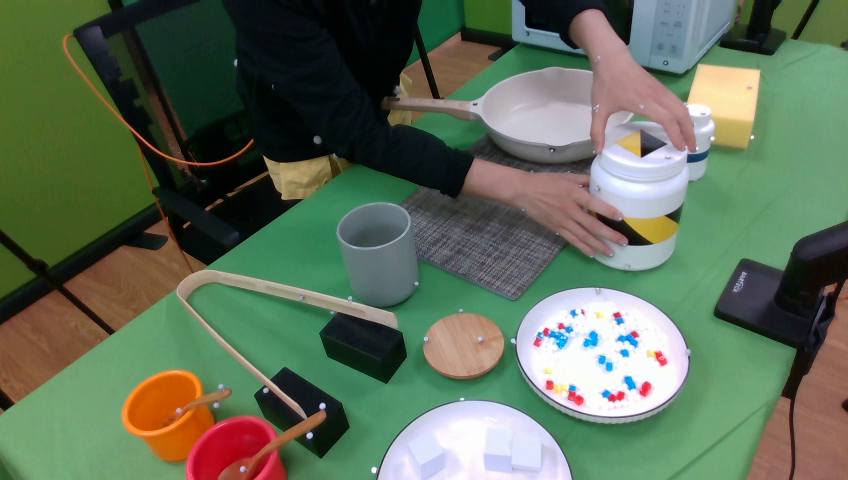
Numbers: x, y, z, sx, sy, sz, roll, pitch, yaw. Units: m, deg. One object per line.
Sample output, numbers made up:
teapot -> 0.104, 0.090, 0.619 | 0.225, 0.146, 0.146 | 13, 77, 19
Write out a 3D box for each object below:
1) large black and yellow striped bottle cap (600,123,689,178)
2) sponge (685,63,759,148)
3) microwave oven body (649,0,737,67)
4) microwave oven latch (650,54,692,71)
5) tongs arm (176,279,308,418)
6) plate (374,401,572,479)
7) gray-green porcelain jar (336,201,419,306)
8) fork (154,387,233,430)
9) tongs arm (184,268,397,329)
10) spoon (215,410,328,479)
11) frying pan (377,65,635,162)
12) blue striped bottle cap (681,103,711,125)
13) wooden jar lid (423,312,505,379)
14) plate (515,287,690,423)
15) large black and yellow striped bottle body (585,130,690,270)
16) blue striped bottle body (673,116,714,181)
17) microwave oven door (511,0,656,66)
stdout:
large black and yellow striped bottle cap -> 0.297, -0.123, 0.818 | 0.115, 0.019, 0.114 | -5, 40, 5
sponge -> 0.569, -0.263, 1.164 | 0.117, 0.061, 0.207 | 13, 45, 22
microwave oven body -> 0.475, -0.602, 1.411 | 0.438, 0.261, 0.327 | 23, 50, 32
microwave oven latch -> 0.530, -0.386, 1.301 | 0.078, 0.029, 0.030 | 23, 50, 31
tongs arm -> -0.254, 0.133, 0.801 | 0.028, 0.028, 0.384 | -41, 40, -23
plate -> 0.051, 0.268, 0.639 | 0.207, 0.039, 0.206 | -3, 40, 3
gray-green porcelain jar -> -0.064, 0.024, 0.872 | 0.106, 0.127, 0.105 | -4, 41, 4
fork -> -0.264, 0.191, 0.687 | 0.206, 0.018, 0.028 | -33, 9, 44
tongs arm -> -0.202, 0.084, 0.848 | 0.382, 0.027, 0.051 | 11, 45, 35
spoon -> -0.165, 0.224, 0.639 | 0.193, 0.022, 0.041 | -40, 32, 30
frying pan -> 0.150, -0.255, 1.177 | 0.488, 0.103, 0.306 | 7, 41, 4
blue striped bottle cap -> 0.445, -0.205, 0.990 | 0.044, 0.021, 0.044 | -4, 44, 4
wooden jar lid -> 0.053, 0.142, 0.800 | 0.108, 0.021, 0.108 | -4, 39, 4
plate -> 0.220, 0.144, 0.760 | 0.209, 0.038, 0.208 | -4, 40, 4
large black and yellow striped bottle body -> 0.306, -0.062, 0.874 | 0.131, 0.185, 0.130 | -4, 41, 4
blue striped bottle body -> 0.451, -0.166, 1.023 | 0.063, 0.121, 0.063 | -5, 41, 5
microwave oven door -> 0.350, -0.539, 1.348 | 0.353, 0.245, 0.039 | 24, 50, 31
